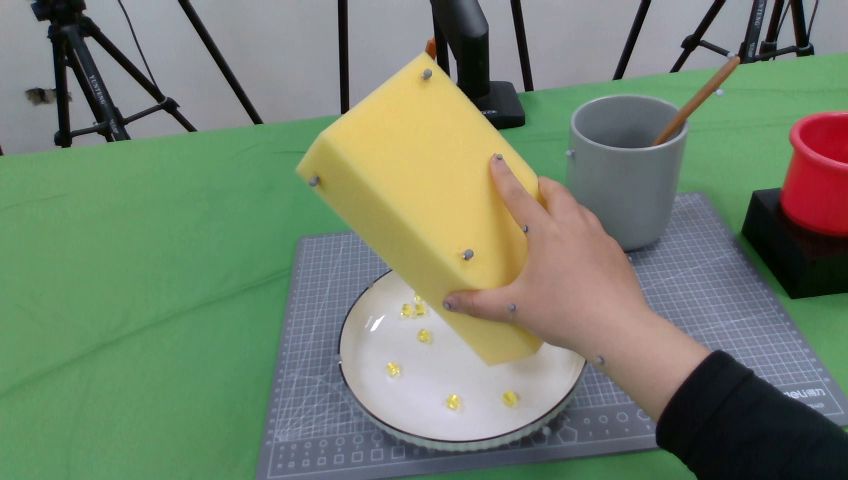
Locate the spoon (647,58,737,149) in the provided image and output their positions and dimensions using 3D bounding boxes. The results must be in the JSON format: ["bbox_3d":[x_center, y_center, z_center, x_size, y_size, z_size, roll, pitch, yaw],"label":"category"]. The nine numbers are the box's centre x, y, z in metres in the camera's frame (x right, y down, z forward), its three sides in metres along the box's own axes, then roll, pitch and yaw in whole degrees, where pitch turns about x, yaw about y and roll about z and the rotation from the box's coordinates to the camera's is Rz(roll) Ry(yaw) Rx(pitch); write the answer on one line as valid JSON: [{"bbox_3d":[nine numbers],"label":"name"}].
[{"bbox_3d":[0.217,-0.086,0.564,0.022,0.194,0.041,25,37,-5],"label":"spoon"}]

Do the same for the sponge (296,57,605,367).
[{"bbox_3d":[0.024,-0.020,0.453,0.207,0.061,0.118,45,57,-7],"label":"sponge"}]

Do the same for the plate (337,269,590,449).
[{"bbox_3d":[0.033,0.087,0.513,0.207,0.039,0.205,-4,40,4],"label":"plate"}]

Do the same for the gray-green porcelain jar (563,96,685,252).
[{"bbox_3d":[0.191,-0.060,0.596,0.106,0.128,0.105,-5,40,4],"label":"gray-green porcelain jar"}]
